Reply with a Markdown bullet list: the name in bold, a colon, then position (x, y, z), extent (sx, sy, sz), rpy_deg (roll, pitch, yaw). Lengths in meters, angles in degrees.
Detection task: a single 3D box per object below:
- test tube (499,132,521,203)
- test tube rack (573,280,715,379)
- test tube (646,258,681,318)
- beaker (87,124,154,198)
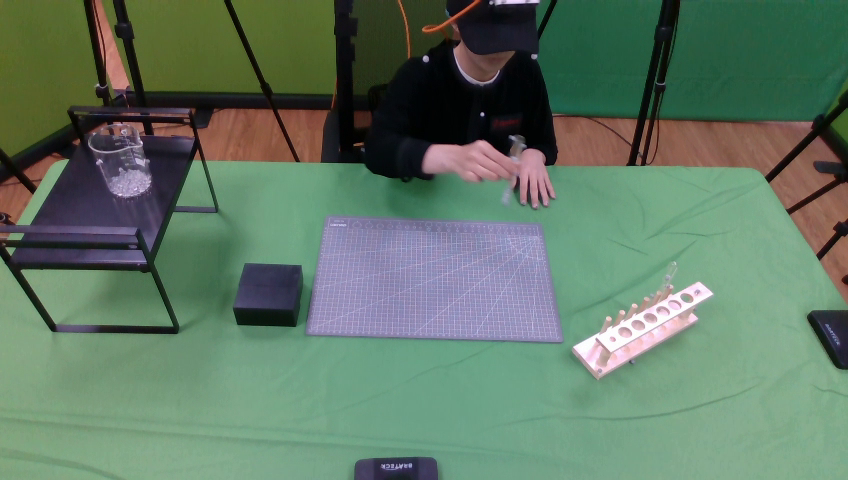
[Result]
- **test tube**: position (0.144, -0.119, 1.022), extent (0.017, 0.151, 0.017), rpy_deg (2, 48, -2)
- **test tube rack**: position (0.378, 0.140, 1.038), extent (0.242, 0.085, 0.066), rpy_deg (-22, 51, -23)
- **test tube**: position (0.406, 0.084, 1.032), extent (0.017, 0.151, 0.017), rpy_deg (1, 47, -1)
- **beaker**: position (-0.482, -0.124, 0.978), extent (0.084, 0.101, 0.073), rpy_deg (9, 46, 4)
